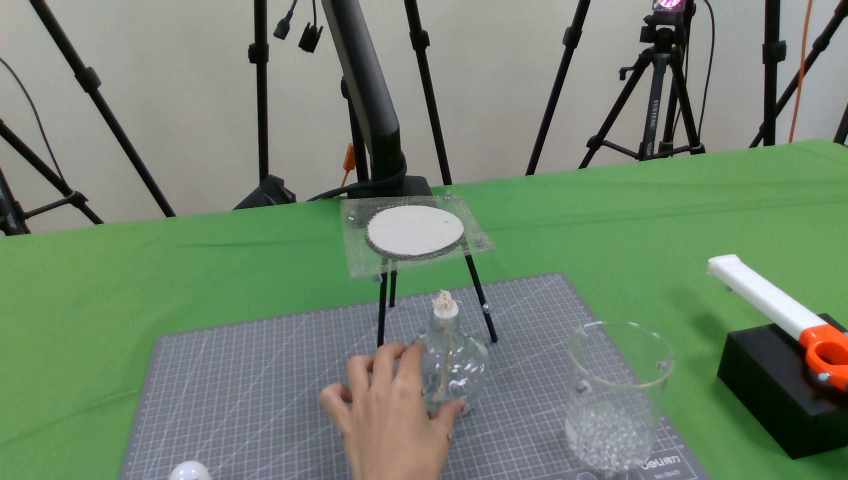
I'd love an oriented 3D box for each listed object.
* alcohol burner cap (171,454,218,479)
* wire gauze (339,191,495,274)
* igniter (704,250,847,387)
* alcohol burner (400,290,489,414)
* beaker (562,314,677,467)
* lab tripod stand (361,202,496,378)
[{"bbox_3d":[-0.170,0.180,0.450,0.034,0.048,0.033,-2,32,1],"label":"alcohol burner cap"},{"bbox_3d":[-0.011,-0.014,0.535,0.122,0.011,0.124,-7,32,-9],"label":"wire gauze"},{"bbox_3d":[0.329,0.080,0.501,0.057,0.025,0.273,-10,29,-9],"label":"igniter"},{"bbox_3d":[0.018,0.089,0.514,0.078,0.120,0.077,-1,34,1],"label":"alcohol burner"},{"bbox_3d":[0.144,0.118,0.471,0.074,0.101,0.083,-18,34,-23],"label":"beaker"},{"bbox_3d":[-0.004,0.040,0.574,0.148,0.132,0.147,-1,30,1],"label":"lab tripod stand"}]
